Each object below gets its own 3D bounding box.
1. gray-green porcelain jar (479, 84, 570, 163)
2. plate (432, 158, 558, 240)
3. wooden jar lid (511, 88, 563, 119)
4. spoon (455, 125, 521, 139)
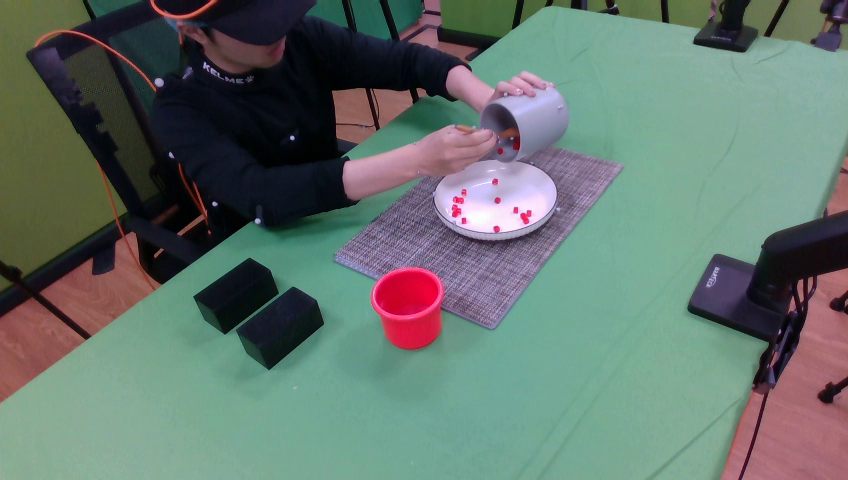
[{"bbox_3d":[0.174,-0.201,1.024,0.127,0.106,0.105,-27,44,-29],"label":"gray-green porcelain jar"},{"bbox_3d":[0.118,-0.066,1.012,0.207,0.039,0.206,-4,41,4],"label":"plate"},{"bbox_3d":[0.237,-0.286,1.271,0.108,0.021,0.108,-5,42,5],"label":"wooden jar lid"},{"bbox_3d":[0.118,-0.172,0.982,0.195,0.021,0.041,-8,33,-43],"label":"spoon"}]
